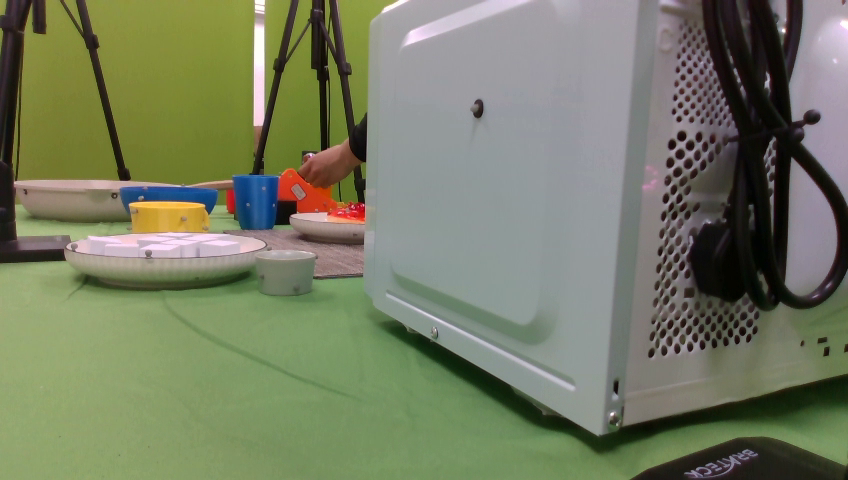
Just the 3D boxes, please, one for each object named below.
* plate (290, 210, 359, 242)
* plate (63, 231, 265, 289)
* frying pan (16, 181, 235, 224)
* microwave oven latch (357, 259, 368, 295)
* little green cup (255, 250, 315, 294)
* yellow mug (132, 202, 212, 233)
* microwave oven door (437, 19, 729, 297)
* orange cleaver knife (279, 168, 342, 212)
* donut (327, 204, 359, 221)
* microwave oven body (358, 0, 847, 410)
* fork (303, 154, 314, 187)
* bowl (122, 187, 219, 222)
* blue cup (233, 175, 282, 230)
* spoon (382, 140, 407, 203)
[{"bbox_3d":[-0.127,-0.025,1.051,0.209,0.038,0.209,2,7,0],"label":"plate"},{"bbox_3d":[-0.288,0.021,0.687,0.208,0.039,0.207,2,8,0],"label":"plate"},{"bbox_3d":[-0.554,-0.097,1.266,0.490,0.102,0.305,-10,13,-24],"label":"frying pan"},{"bbox_3d":[-0.019,0.031,0.529,0.079,0.029,0.030,-1,7,-26],"label":"microwave oven latch"},{"bbox_3d":[-0.144,0.032,0.627,0.061,0.038,0.061,3,6,0],"label":"little green cup"},{"bbox_3d":[-0.356,-0.020,0.878,0.099,0.064,0.131,5,7,22],"label":"yellow mug"},{"bbox_3d":[0.180,-0.076,0.618,0.358,0.243,0.039,-2,9,-28],"label":"microwave oven door"},{"bbox_3d":[-0.236,-0.084,1.332,0.212,0.077,0.012,31,-9,-31],"label":"orange cleaver knife"},{"bbox_3d":[-0.120,-0.037,1.056,0.099,0.048,0.099,5,6,0],"label":"donut"},{"bbox_3d":[0.210,-0.051,0.471,0.444,0.260,0.324,-1,7,-28],"label":"microwave oven body"},{"bbox_3d":[-0.269,-0.135,1.447,0.028,0.018,0.207,2,-37,0],"label":"fork"},{"bbox_3d":[-0.421,-0.046,1.012,0.151,0.077,0.151,2,8,0],"label":"bowl"},{"bbox_3d":[-0.314,-0.071,1.141,0.093,0.100,0.092,0,7,0],"label":"blue cup"},{"bbox_3d":[-0.076,-0.165,1.428,0.042,0.193,0.021,-7,-28,-12],"label":"spoon"}]
